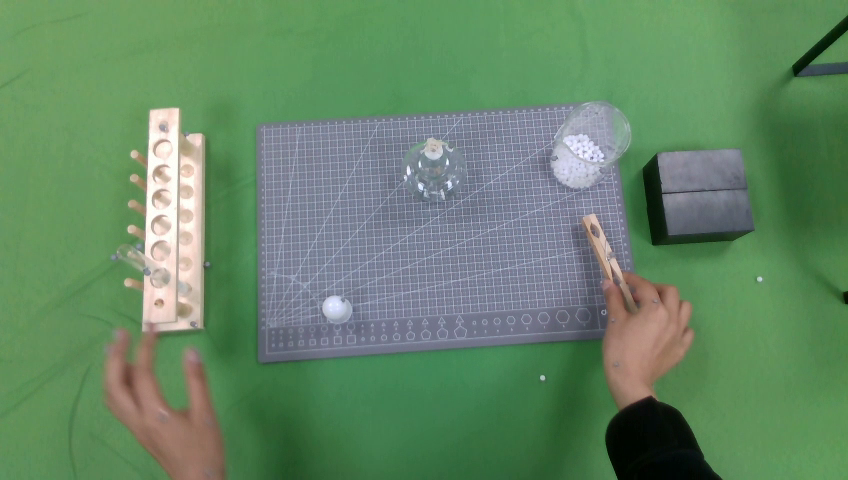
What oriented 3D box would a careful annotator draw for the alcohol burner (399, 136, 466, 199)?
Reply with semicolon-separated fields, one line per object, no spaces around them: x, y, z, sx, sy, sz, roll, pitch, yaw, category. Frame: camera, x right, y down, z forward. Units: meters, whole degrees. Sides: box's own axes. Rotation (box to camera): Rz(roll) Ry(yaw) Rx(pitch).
0.009;-0.089;0.696;0.078;0.119;0.077;0;78;2;alcohol burner

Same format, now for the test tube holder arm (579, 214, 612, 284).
0.204;0.010;0.712;0.010;0.015;0.087;-20;71;2;test tube holder arm

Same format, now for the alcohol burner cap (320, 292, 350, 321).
-0.104;0.075;0.695;0.034;0.048;0.033;0;78;-1;alcohol burner cap

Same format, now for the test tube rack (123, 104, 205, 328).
-0.301;-0.025;0.696;0.067;0.085;0.241;-4;77;-1;test tube rack

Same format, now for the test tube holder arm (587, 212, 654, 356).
0.224;0.048;0.697;0.013;0.015;0.177;-21;71;2;test tube holder arm

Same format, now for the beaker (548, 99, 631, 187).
0.186;-0.108;0.709;0.084;0.100;0.073;-5;76;0;beaker

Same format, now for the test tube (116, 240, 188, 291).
-0.280;0.030;0.634;0.017;0.151;0.017;0;72;0;test tube
